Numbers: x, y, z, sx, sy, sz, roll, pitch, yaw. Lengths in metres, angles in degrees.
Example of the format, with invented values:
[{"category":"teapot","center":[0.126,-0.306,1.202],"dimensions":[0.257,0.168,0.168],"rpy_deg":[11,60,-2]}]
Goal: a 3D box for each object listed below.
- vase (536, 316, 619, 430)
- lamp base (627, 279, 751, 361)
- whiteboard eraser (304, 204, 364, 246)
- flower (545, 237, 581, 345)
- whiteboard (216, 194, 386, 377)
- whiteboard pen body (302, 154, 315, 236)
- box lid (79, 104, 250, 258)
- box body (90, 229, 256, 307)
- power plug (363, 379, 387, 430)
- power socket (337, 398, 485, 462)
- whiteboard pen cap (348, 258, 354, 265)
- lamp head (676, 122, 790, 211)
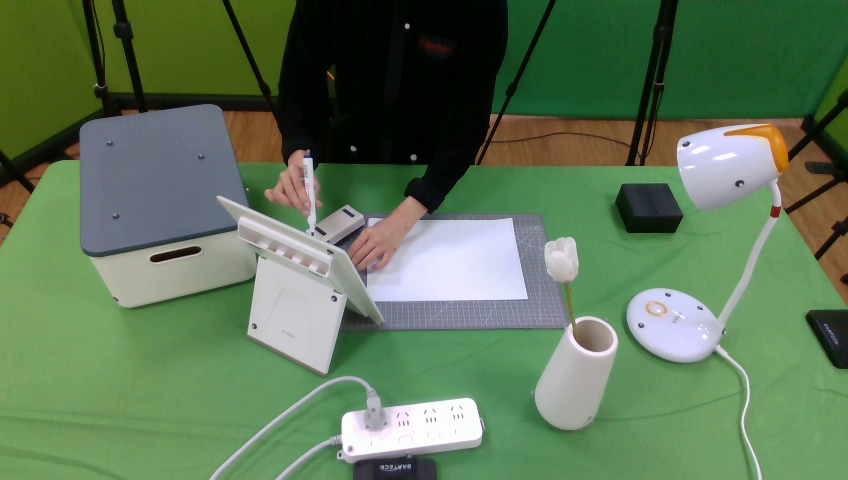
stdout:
[{"category":"vase","center":[0.229,0.200,0.901],"dimensions":[0.098,0.201,0.097],"rpy_deg":[3,46,-3]},{"category":"lamp base","center":[0.460,0.100,1.027],"dimensions":[0.178,0.181,0.160],"rpy_deg":[27,51,17]},{"category":"whiteboard eraser","center":[-0.175,-0.022,1.188],"dimensions":[0.055,0.042,0.112],"rpy_deg":[36,53,26]},{"category":"flower","center":[0.213,0.137,0.846],"dimensions":[0.038,0.364,0.044],"rpy_deg":[21,55,40]},{"category":"whiteboard","center":[-0.212,0.093,0.939],"dimensions":[0.216,0.307,0.143],"rpy_deg":[24,70,17]},{"category":"whiteboard pen body","center":[-0.196,-0.076,1.032],"dimensions":[0.017,0.141,0.017],"rpy_deg":[-2,8,1]},{"category":"box lid","center":[-0.467,-0.120,1.075],"dimensions":[0.264,0.015,0.369],"rpy_deg":[-13,49,-17]},{"category":"box body","center":[-0.471,-0.070,1.131],"dimensions":[0.254,0.161,0.361],"rpy_deg":[-14,49,-17]},{"category":"power plug","center":[-0.071,0.252,0.911],"dimensions":[0.035,0.053,0.072],"rpy_deg":[3,40,0]},{"category":"power socket","center":[-0.018,0.285,0.914],"dimensions":[0.227,0.033,0.071],"rpy_deg":[-4,46,-8]},{"category":"whiteboard pen cap","center":[-0.150,0.041,1.149],"dimensions":[0.033,0.018,0.018],"rpy_deg":[11,46,17]},{"category":"lamp head","center":[0.423,-0.104,0.819],"dimensions":[0.122,0.113,0.112],"rpy_deg":[-13,33,40]}]
